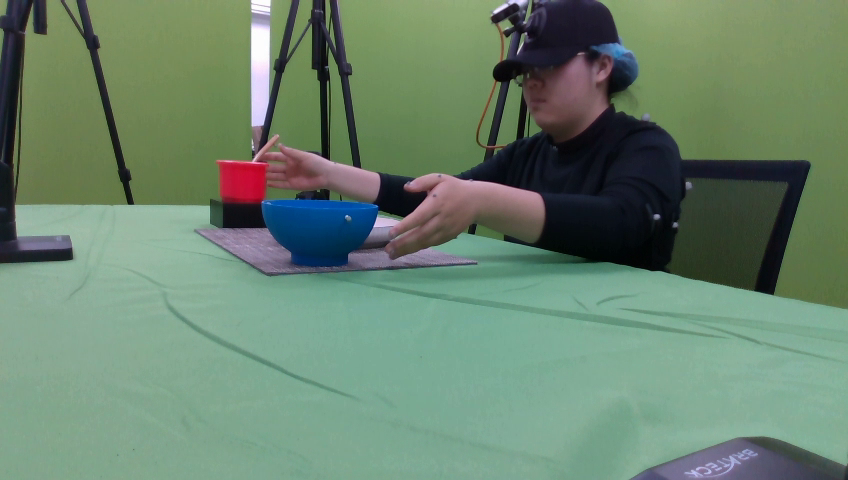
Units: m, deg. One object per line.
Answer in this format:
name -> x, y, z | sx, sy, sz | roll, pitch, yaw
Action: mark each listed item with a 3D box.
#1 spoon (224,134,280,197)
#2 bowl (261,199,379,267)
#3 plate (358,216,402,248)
spoon -> -0.333, -0.150, 1.192 | 0.041, 0.022, 0.194 | 6, 51, 24
bowl -> -0.135, -0.009, 0.786 | 0.151, 0.077, 0.151 | 3, 7, 0
plate -> -0.140, -0.015, 0.993 | 0.208, 0.039, 0.207 | 3, 8, 0
